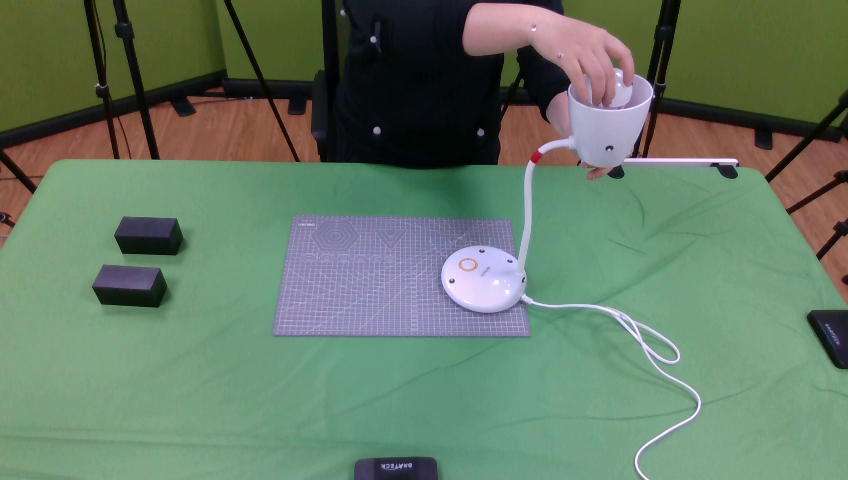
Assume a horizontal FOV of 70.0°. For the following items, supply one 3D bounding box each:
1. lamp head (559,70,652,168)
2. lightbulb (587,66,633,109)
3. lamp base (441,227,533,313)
[{"bbox_3d":[0.252,-0.163,0.860,0.112,0.123,0.111,0,42,0],"label":"lamp head"},{"bbox_3d":[0.258,-0.189,0.846,0.059,0.108,0.059,-5,37,4],"label":"lightbulb"},{"bbox_3d":[0.126,0.022,1.071,0.179,0.181,0.160,23,49,14],"label":"lamp base"}]
